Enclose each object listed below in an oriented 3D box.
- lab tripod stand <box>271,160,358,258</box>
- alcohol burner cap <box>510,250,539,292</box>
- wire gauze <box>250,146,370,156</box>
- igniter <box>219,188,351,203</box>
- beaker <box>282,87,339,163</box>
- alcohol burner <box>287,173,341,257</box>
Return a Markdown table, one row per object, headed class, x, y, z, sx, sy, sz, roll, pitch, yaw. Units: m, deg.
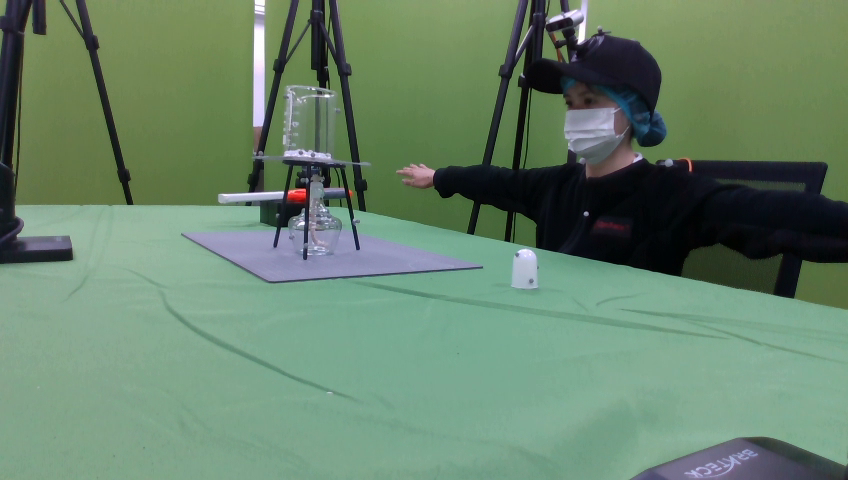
| class | x | y | z | sx | sy | sz | roll | pitch | yaw |
| --- | --- | --- | --- | --- | --- | --- | --- | --- | --- |
| lab tripod stand | -0.159 | -0.048 | 0.876 | 0.148 | 0.131 | 0.148 | 3 | 5 | 0 |
| alcohol burner cap | 0.118 | 0.036 | 0.704 | 0.034 | 0.048 | 0.034 | 0 | 6 | 0 |
| wire gauze | -0.162 | -0.128 | 0.868 | 0.124 | 0.011 | 0.122 | 2 | 7 | 32 |
| igniter | -0.280 | -0.092 | 1.254 | 0.278 | 0.025 | 0.057 | -6 | 10 | -34 |
| beaker | -0.164 | -0.160 | 0.856 | 0.074 | 0.100 | 0.083 | 1 | 6 | -37 |
| alcohol burner | -0.158 | -0.037 | 0.868 | 0.078 | 0.119 | 0.078 | 1 | 6 | 0 |
